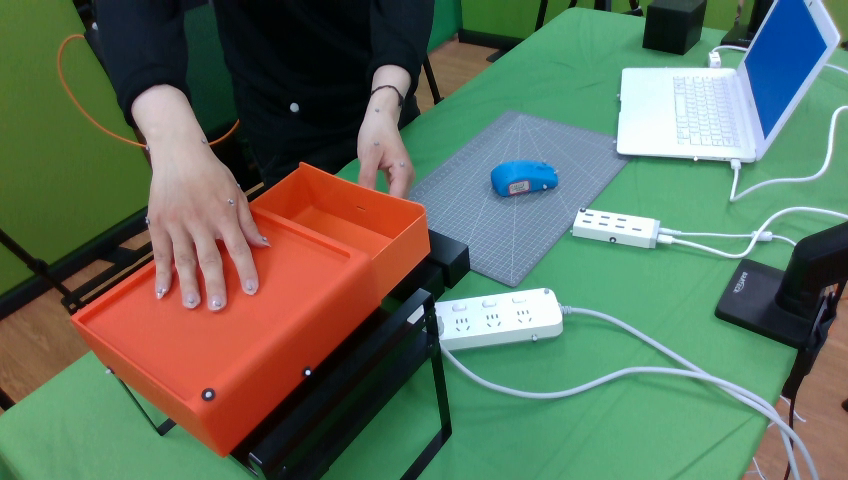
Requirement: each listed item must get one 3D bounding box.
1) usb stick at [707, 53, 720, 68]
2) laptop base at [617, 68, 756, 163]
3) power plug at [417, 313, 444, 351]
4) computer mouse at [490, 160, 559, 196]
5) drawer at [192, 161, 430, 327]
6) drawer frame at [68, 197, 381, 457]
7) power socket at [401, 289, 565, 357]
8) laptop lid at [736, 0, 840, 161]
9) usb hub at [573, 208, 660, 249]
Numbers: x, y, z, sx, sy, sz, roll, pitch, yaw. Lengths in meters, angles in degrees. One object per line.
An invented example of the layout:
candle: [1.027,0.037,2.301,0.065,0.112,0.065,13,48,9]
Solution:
usb stick: [0.629,-0.382,1.313,0.021,0.027,0.059,2,46,17]
laptop base: [0.509,-0.255,1.201,0.234,0.023,0.353,4,41,16]
power plug: [0.007,0.127,0.786,0.035,0.053,0.072,1,43,9]
computer mouse: [0.177,-0.114,1.066,0.117,0.041,0.062,-8,39,-6]
drawer: [-0.131,0.016,0.650,0.193,0.073,0.212,22,48,30]
drawer frame: [-0.186,0.069,0.595,0.200,0.083,0.214,22,49,29]
power socket: [0.081,0.112,0.822,0.227,0.033,0.072,-7,41,-1]
laptop lid: [0.641,-0.327,1.090,0.013,0.242,0.356,16,43,5]
usb hub: [0.301,-0.019,0.949,0.124,0.025,0.049,11,43,20]
